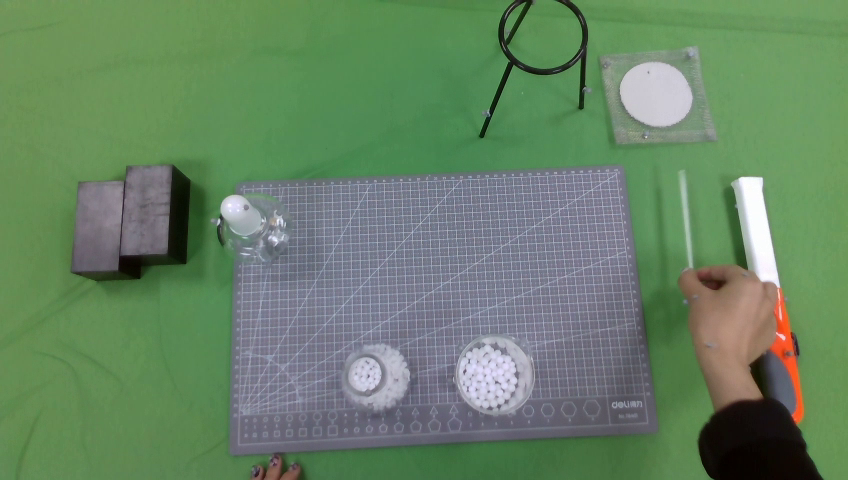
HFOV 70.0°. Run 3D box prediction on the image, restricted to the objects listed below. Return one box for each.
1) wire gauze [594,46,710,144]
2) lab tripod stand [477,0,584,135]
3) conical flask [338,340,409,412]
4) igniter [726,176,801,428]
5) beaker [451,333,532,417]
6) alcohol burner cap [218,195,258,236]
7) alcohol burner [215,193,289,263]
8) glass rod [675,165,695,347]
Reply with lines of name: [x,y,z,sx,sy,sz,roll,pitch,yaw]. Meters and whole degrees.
wire gauze: [0.275,-0.173,0.728,0.125,0.011,0.121,-4,77,-3]
lab tripod stand: [0.114,-0.189,0.666,0.148,0.132,0.147,0,78,0]
conical flask: [-0.054,0.132,0.593,0.075,0.122,0.075,0,76,1]
igniter: [0.370,0.062,0.664,0.057,0.025,0.275,0,77,-12]
beaker: [0.066,0.133,0.606,0.074,0.100,0.084,44,80,9]
alcohol burner cap: [-0.184,-0.027,0.596,0.034,0.048,0.033,1,68,-2]
alcohol burner: [-0.184,-0.017,0.631,0.078,0.119,0.077,0,77,2]
glass rod: [0.280,0.014,0.650,0.008,0.008,0.199,1,78,0]
